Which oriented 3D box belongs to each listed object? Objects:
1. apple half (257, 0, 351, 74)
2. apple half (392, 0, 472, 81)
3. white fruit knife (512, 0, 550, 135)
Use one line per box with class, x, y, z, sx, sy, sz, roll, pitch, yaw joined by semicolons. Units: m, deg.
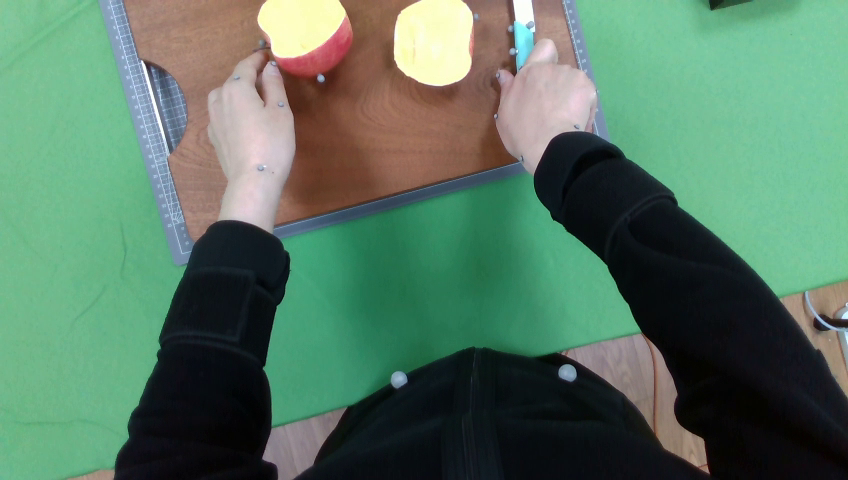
apple half;-0.103;-0.185;0.545;0.074;0.054;0.080;-34;66;-2
apple half;0.009;-0.186;0.560;0.081;0.032;0.081;2;104;10
white fruit knife;0.093;-0.202;0.571;0.027;0.016;0.207;-9;92;-29
